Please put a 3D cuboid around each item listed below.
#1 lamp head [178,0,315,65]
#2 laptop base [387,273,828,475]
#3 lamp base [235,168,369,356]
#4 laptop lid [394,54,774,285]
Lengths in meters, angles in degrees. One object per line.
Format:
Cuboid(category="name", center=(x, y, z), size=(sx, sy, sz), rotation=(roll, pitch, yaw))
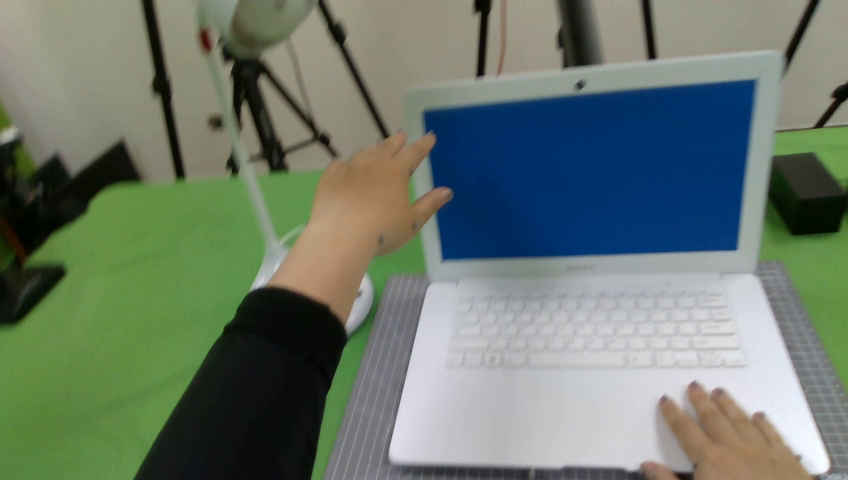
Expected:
Cuboid(category="lamp head", center=(-0.166, -0.224, 0.506), size=(0.122, 0.113, 0.112), rotation=(39, 51, 8))
Cuboid(category="laptop base", center=(0.154, 0.120, 0.586), size=(0.353, 0.023, 0.233), rotation=(-3, 39, 13))
Cuboid(category="lamp base", center=(-0.166, 0.013, 0.690), size=(0.160, 0.182, 0.177), rotation=(-33, 37, -28))
Cuboid(category="laptop lid", center=(0.156, -0.054, 0.624), size=(0.356, 0.243, 0.013), rotation=(-4, 28, 13))
